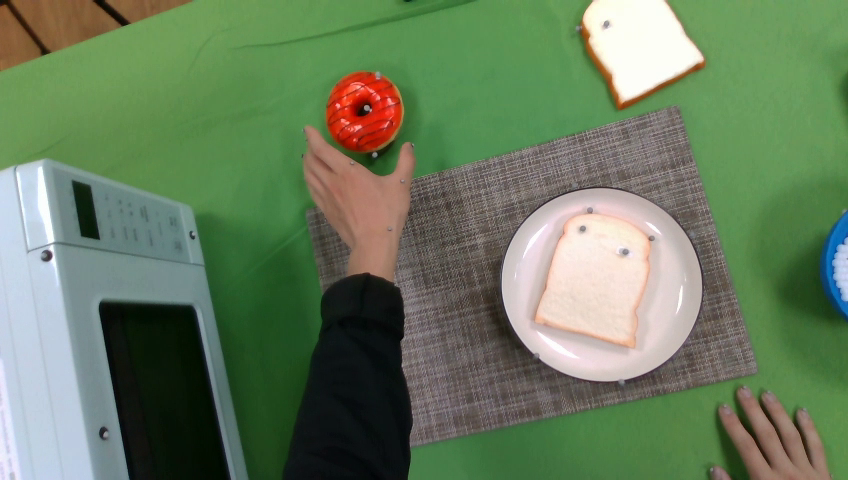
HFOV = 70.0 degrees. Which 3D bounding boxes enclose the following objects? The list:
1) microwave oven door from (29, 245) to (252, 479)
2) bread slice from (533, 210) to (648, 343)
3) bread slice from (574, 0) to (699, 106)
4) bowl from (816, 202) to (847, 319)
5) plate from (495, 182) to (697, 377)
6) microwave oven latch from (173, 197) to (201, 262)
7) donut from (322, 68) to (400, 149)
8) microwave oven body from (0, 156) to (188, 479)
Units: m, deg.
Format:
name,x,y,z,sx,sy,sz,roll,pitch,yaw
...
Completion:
name,x,y,z,sx,sy,sz,roll,pitch,yaw
microwave oven door,-0.258,0.187,0.601,0.039,0.245,0.354,-17,81,8
bread slice,0.183,0.035,0.657,0.107,0.018,0.134,11,86,10
bread slice,0.233,-0.232,0.691,0.105,0.019,0.131,-29,81,5
bowl,0.455,0.023,0.594,0.151,0.077,0.151,-1,83,10
plate,0.182,0.043,0.657,0.207,0.039,0.207,-1,84,10
microwave oven latch,-0.295,-0.010,0.731,0.030,0.029,0.079,-16,82,7
donut,-0.076,-0.157,0.723,0.099,0.048,0.099,-1,84,13
microwave oven body,-0.407,0.189,0.632,0.326,0.261,0.440,-16,82,7
